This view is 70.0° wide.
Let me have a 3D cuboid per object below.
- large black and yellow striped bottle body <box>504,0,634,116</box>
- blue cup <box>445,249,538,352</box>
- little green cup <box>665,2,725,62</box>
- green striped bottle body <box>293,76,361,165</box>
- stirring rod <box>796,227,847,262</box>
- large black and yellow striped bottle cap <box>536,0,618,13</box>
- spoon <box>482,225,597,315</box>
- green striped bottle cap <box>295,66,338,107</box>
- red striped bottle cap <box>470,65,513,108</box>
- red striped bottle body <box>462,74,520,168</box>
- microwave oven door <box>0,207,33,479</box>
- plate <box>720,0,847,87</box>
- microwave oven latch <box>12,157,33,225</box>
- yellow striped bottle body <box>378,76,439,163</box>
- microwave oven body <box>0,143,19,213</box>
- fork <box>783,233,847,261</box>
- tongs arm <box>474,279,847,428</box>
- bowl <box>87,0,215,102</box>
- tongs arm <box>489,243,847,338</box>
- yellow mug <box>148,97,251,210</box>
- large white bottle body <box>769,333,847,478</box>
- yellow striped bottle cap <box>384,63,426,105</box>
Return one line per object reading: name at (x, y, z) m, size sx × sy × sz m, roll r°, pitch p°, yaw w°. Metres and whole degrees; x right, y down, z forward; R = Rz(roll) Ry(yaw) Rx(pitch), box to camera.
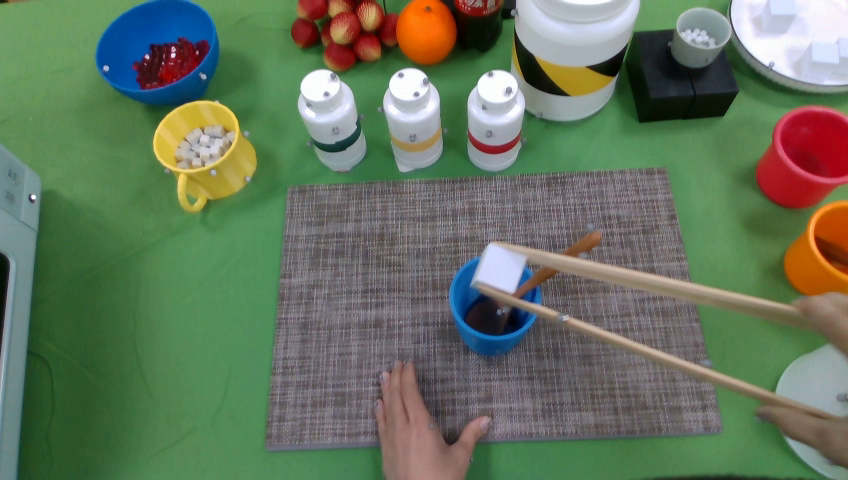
large black and yellow striped bottle body at (0.162, -0.245, 0.691) m, size 0.131 × 0.185 × 0.129 m, roll -1°, pitch 66°, yaw 3°
blue cup at (0.064, 0.068, 0.598) m, size 0.092 × 0.101 × 0.092 m, roll -1°, pitch 64°, yaw 2°
little green cup at (0.312, -0.239, 0.704) m, size 0.061 × 0.039 × 0.061 m, roll -1°, pitch 64°, yaw 2°
green striped bottle body at (-0.111, -0.143, 0.697) m, size 0.063 × 0.120 × 0.062 m, roll -1°, pitch 65°, yaw 3°
stirring rod at (0.418, 0.021, 0.581) m, size 0.014 × 0.006 × 0.174 m, roll -9°, pitch 23°, yaw -1°
large black and yellow striped bottle cap at (0.156, -0.279, 0.614) m, size 0.115 × 0.019 × 0.114 m, roll -2°, pitch 65°, yaw 4°
spoon at (0.092, 0.042, 0.564) m, size 0.022 × 0.194 × 0.041 m, roll -5°, pitch 63°, yaw -35°
green striped bottle cap at (-0.116, -0.165, 0.649) m, size 0.044 × 0.020 × 0.044 m, roll -1°, pitch 64°, yaw 3°
red striped bottle cap at (0.071, -0.162, 0.636) m, size 0.044 × 0.018 × 0.044 m, roll 0°, pitch 64°, yaw -1°
red striped bottle body at (0.076, -0.139, 0.684) m, size 0.063 × 0.121 × 0.062 m, roll -3°, pitch 63°, yaw 7°
microwave oven door at (-0.442, 0.097, 0.523) m, size 0.039 × 0.245 × 0.352 m, roll -12°, pitch 66°, yaw -1°
plate at (0.478, -0.274, 0.765) m, size 0.209 × 0.038 × 0.207 m, roll -1°, pitch 66°, yaw 3°
microwave oven latch at (-0.476, -0.055, 0.705) m, size 0.030 × 0.030 × 0.078 m, roll -11°, pitch 66°, yaw -2°
yellow striped bottle body at (-0.017, -0.145, 0.691) m, size 0.063 × 0.121 × 0.062 m, roll -2°, pitch 66°, yaw 4°
microwave oven body at (-0.594, 0.091, 0.540) m, size 0.326 × 0.262 × 0.438 m, roll -11°, pitch 66°, yaw -2°
fork at (0.446, 0.021, 0.574) m, size 0.028 × 0.019 × 0.205 m, roll -36°, pitch 24°, yaw -17°
tongs arm at (0.203, 0.072, 0.372) m, size 0.381 × 0.027 × 0.050 m, roll 21°, pitch 78°, yaw 33°
bowl at (-0.332, -0.229, 0.771) m, size 0.151 × 0.077 × 0.150 m, roll -1°, pitch 66°, yaw 3°
tongs arm at (0.211, 0.052, 0.377) m, size 0.384 × 0.028 × 0.028 m, roll 15°, pitch 72°, yaw 32°
yellow mug at (-0.267, -0.097, 0.715) m, size 0.100 × 0.064 × 0.130 m, roll 7°, pitch 67°, yaw 5°
large white bottle body at (0.396, 0.127, 0.509) m, size 0.130 × 0.186 × 0.129 m, roll -1°, pitch 65°, yaw 3°
yellow striped bottle cap at (-0.021, -0.166, 0.645) m, size 0.044 × 0.019 × 0.044 m, roll -1°, pitch 67°, yaw 2°
